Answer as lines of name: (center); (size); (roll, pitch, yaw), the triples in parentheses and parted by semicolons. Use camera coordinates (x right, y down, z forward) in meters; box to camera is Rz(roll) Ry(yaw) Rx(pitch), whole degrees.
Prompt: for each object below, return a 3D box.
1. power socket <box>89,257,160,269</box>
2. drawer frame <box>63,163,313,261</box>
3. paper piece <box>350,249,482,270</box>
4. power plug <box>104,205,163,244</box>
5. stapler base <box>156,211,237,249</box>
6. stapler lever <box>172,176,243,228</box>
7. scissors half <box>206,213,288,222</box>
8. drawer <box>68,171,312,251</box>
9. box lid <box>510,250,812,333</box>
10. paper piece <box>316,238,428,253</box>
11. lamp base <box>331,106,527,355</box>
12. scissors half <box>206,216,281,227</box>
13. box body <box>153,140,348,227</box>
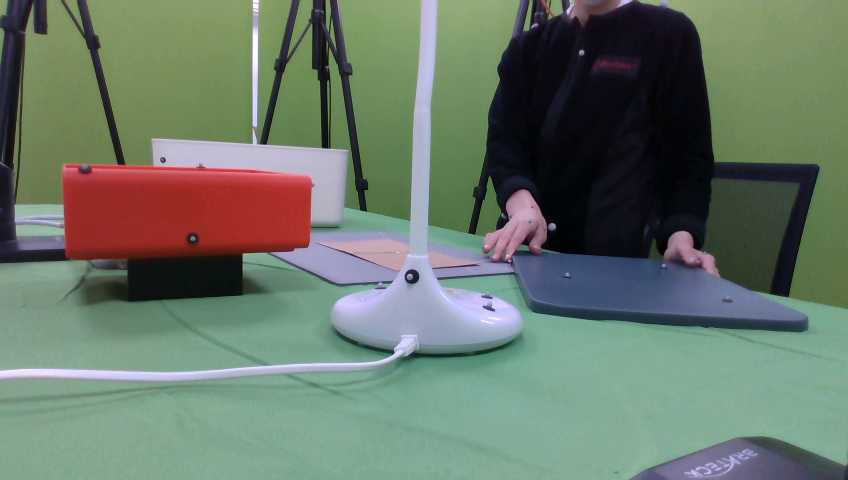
power socket: (-0.409, 0.004, 0.793); (0.072, 0.032, 0.225); (-2, 8, -38)
drawer frame: (-0.248, -0.036, 0.626); (0.215, 0.082, 0.200); (-3, 9, -31)
paper piece: (-0.013, 0.026, 0.842); (0.139, 0.008, 0.135); (0, 11, -32)
power plug: (-0.390, -0.021, 0.815); (0.073, 0.052, 0.035); (-1, 7, -27)
stapler base: (-0.227, -0.017, 0.624); (0.041, 0.024, 0.130); (19, 9, -2)
stapler lever: (-0.217, -0.041, 0.618); (0.027, 0.040, 0.118); (19, 11, -2)
scissors half: (-0.361, -0.046, 1.233); (0.175, 0.013, 0.040); (1, 15, 4)
drawer: (-0.246, -0.036, 0.629); (0.213, 0.073, 0.193); (-2, 9, -30)
box lid: (0.246, 0.052, 0.733); (0.263, 0.015, 0.371); (4, 7, 4)
paper piece: (-0.083, 0.008, 0.952); (0.136, 0.004, 0.134); (-2, 9, -31)
lamp base: (0.006, -0.012, 0.478); (0.161, 0.180, 0.179); (2, 10, 2)
scissors half: (-0.366, -0.040, 1.214); (0.174, 0.013, 0.040); (6, 21, 21)
box body: (-0.357, -0.119, 1.264); (0.365, 0.160, 0.253); (0, 7, -18)
